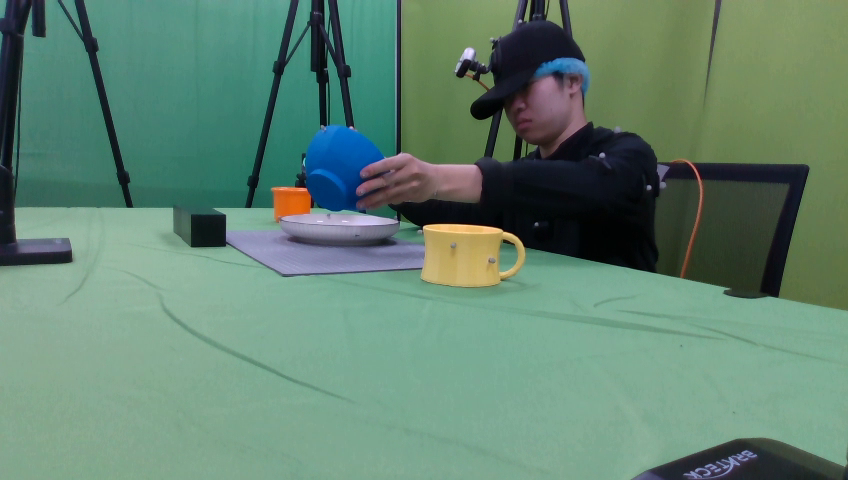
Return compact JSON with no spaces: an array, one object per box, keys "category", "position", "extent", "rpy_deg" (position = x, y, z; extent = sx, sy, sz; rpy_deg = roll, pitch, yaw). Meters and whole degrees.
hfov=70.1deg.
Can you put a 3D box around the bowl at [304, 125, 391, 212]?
[{"category":"bowl","position":[-0.136,-0.096,0.951],"extent":[0.150,0.152,0.077],"rpy_deg":[7,44,32]}]

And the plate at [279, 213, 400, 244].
[{"category":"plate","position":[-0.147,-0.020,1.060],"extent":[0.209,0.038,0.209],"rpy_deg":[3,7,0]}]

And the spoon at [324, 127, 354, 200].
[{"category":"spoon","position":[-0.141,-0.137,1.041],"extent":[0.042,0.021,0.193],"rpy_deg":[20,40,-15]}]

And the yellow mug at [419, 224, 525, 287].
[{"category":"yellow mug","position":[0.061,0.018,0.746],"extent":[0.131,0.064,0.100],"rpy_deg":[2,7,-7]}]
